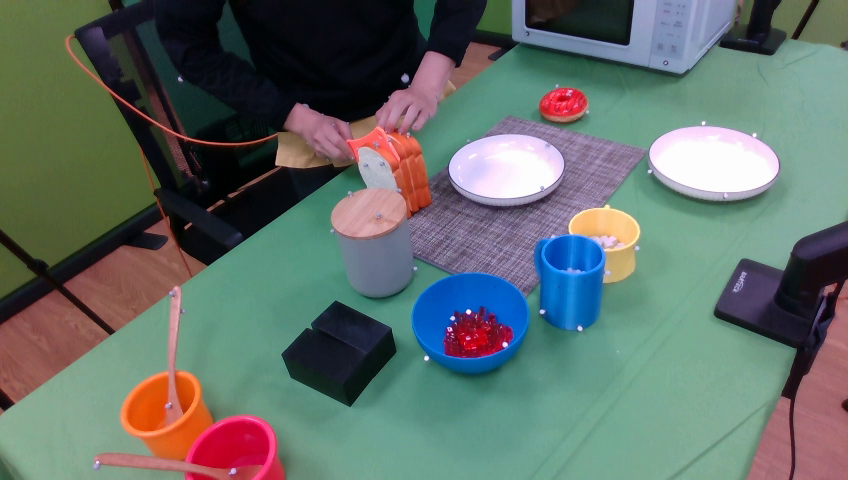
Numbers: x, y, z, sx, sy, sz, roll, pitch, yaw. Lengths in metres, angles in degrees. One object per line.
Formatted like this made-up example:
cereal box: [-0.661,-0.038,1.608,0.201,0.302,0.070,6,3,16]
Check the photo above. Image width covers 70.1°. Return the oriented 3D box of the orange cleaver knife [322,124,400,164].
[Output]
orange cleaver knife: [-0.112,-0.154,1.042,0.012,0.077,0.209,-38,24,-30]

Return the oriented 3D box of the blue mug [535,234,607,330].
blue mug: [0.191,0.048,0.824,0.082,0.106,0.115,-26,44,-20]

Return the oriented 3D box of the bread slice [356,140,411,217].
bread slice: [-0.073,-0.106,1.020,0.104,0.132,0.019,27,54,36]

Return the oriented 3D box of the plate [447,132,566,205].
plate: [0.146,-0.124,1.076,0.209,0.038,0.208,-3,41,3]

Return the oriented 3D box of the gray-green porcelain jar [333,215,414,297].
gray-green porcelain jar: [-0.071,0.012,0.887,0.106,0.127,0.105,-4,41,4]

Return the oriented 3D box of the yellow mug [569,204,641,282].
yellow mug: [0.268,-0.005,0.904,0.099,0.064,0.130,7,41,15]

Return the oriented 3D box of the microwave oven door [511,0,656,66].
microwave oven door: [0.351,-0.539,1.349,0.353,0.245,0.039,24,50,31]

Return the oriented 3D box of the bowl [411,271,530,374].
bowl: [0.062,0.120,0.780,0.151,0.077,0.150,-4,40,4]

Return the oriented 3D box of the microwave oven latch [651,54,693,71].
microwave oven latch: [0.532,-0.386,1.301,0.078,0.029,0.030,26,51,34]

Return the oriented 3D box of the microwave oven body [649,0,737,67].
microwave oven body: [0.475,-0.602,1.411,0.438,0.261,0.327,23,50,32]

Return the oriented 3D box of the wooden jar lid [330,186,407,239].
wooden jar lid: [-0.077,-0.035,0.846,0.108,0.021,0.108,-5,41,5]

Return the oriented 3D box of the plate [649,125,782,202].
plate: [0.493,-0.127,1.036,0.207,0.039,0.206,-4,40,4]

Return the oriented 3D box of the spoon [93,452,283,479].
spoon: [-0.240,0.239,0.632,0.195,0.021,0.041,26,33,-32]

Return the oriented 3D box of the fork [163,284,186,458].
fork: [-0.302,0.157,0.733,0.028,0.019,0.207,-3,84,16]

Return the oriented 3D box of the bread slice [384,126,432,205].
bread slice: [-0.031,-0.131,1.046,0.018,0.135,0.106,-33,46,-27]

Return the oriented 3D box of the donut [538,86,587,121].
donut: [0.283,-0.280,1.239,0.099,0.048,0.098,-5,42,5]
